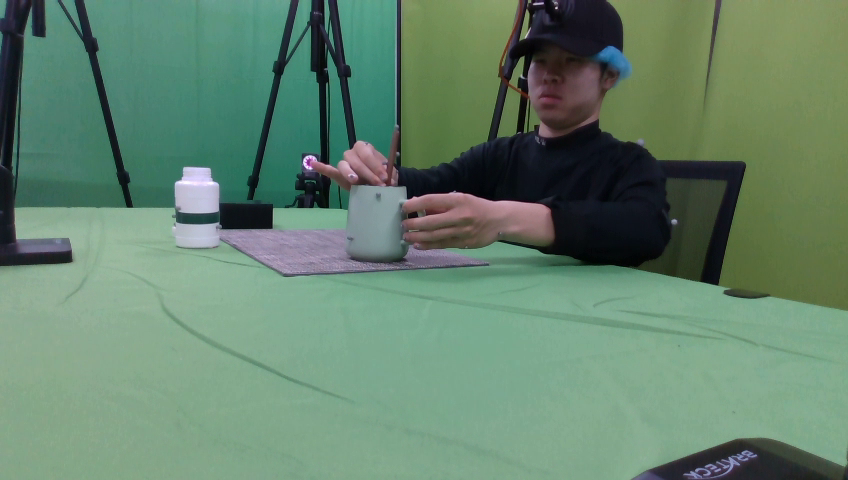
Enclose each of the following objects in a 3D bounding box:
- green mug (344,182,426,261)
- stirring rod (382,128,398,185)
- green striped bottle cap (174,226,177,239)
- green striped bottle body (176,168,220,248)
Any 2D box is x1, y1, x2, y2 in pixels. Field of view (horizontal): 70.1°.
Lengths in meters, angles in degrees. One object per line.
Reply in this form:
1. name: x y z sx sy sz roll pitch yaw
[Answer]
1. green mug: -0.052 -0.026 0.847 0.125 0.105 0.093 6 9 29
2. stirring rod: -0.054 -0.067 0.835 0.006 0.176 0.014 7 4 -36
3. green striped bottle cap: -0.405 -0.015 1.036 0.044 0.020 0.044 -1 9 0
4. green striped bottle body: -0.345 -0.050 0.924 0.063 0.119 0.063 2 7 0
